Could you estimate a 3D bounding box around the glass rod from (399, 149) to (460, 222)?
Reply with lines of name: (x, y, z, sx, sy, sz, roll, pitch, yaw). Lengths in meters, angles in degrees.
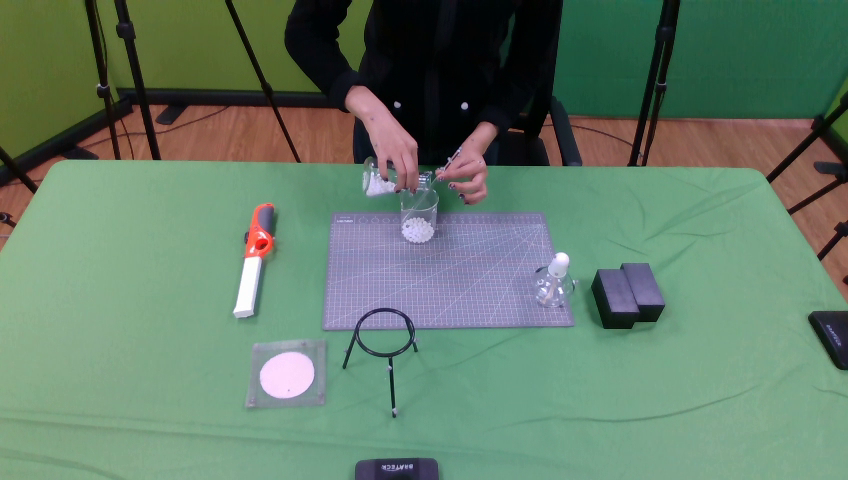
glass rod: (0.008, -0.100, 1.145, 0.008, 0.200, 0.008, 27, 35, -21)

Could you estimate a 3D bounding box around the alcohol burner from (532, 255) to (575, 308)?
alcohol burner: (0.235, 0.066, 1.087, 0.078, 0.119, 0.077, 4, 45, -3)

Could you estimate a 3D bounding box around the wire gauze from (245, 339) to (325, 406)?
wire gauze: (-0.224, 0.214, 0.984, 0.125, 0.011, 0.120, -2, 46, -5)

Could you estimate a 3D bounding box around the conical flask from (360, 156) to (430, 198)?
conical flask: (-0.051, -0.113, 1.113, 0.122, 0.075, 0.075, 2, 45, -20)

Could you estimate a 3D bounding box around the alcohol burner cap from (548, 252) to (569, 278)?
alcohol burner cap: (0.238, 0.042, 1.060, 0.034, 0.048, 0.033, 1, 53, -1)

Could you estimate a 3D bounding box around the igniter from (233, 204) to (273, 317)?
igniter: (-0.321, 0.029, 1.142, 0.057, 0.025, 0.274, -8, 46, 4)

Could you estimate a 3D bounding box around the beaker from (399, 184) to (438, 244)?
beaker: (-0.015, -0.046, 1.186, 0.073, 0.101, 0.084, 36, 54, 28)

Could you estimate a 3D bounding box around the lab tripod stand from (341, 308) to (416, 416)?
lab tripod stand: (-0.061, 0.177, 0.946, 0.148, 0.132, 0.147, 2, 44, -2)
